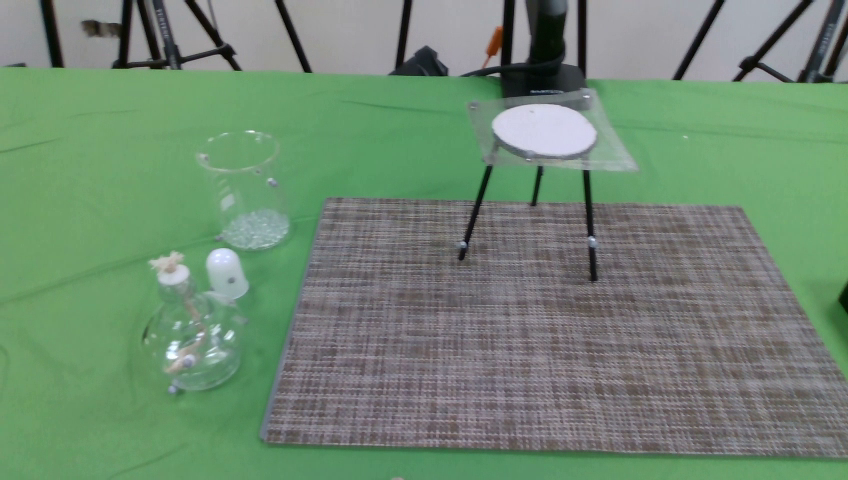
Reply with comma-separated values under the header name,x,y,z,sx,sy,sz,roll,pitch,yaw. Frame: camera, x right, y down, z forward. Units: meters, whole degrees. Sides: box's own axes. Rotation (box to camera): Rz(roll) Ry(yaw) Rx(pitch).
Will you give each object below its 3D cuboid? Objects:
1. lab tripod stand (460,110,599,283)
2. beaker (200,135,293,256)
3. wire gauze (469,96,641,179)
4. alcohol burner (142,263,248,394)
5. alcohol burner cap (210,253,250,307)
name,x,y,z,sx,sy,sz,roll,pitch,yaw
lab tripod stand,0.109,-0.040,0.560,0.148,0.132,0.147,2,39,-1
beaker,-0.168,-0.043,0.593,0.074,0.101,0.083,11,40,12
wire gauze,0.105,-0.089,0.513,0.125,0.011,0.120,-1,41,-4
alcohol burner,-0.175,0.061,0.456,0.078,0.120,0.077,1,41,-1
alcohol burner cap,-0.177,0.034,0.546,0.034,0.048,0.033,1,40,0
